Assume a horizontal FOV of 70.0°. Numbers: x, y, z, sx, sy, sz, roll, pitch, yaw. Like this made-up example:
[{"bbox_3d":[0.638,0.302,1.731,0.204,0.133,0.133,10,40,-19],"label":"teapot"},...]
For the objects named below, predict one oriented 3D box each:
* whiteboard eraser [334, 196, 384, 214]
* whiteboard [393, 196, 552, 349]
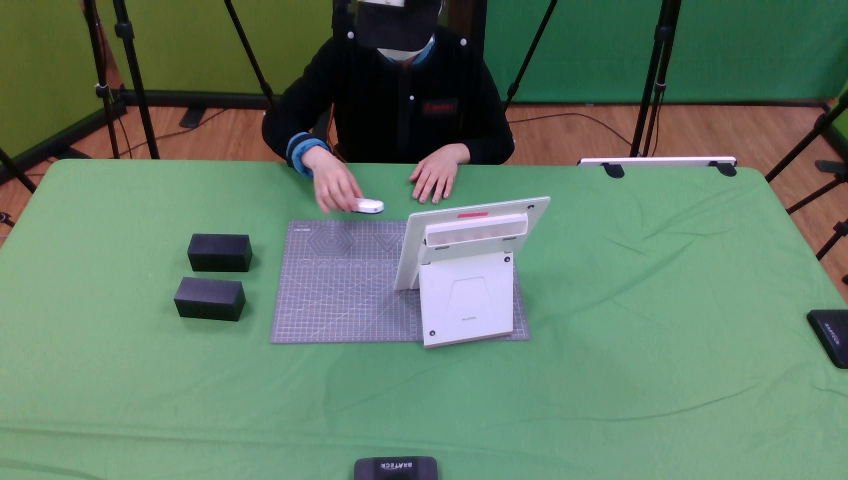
[{"bbox_3d":[-0.124,-0.068,1.154,0.101,0.019,0.041,8,25,19],"label":"whiteboard eraser"},{"bbox_3d":[0.077,0.071,0.977,0.217,0.306,0.143,-7,66,-11],"label":"whiteboard"}]
